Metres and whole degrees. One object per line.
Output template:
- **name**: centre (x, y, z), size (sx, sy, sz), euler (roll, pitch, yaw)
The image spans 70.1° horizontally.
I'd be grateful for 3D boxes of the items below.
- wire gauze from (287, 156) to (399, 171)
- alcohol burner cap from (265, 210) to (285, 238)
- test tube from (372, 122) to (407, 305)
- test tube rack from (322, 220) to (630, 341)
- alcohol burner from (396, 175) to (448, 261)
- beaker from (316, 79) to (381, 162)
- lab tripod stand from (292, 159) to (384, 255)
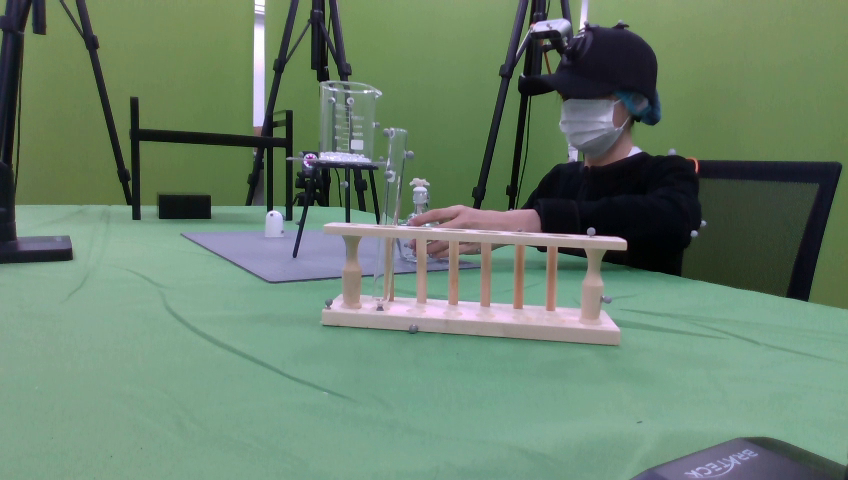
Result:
- **wire gauze**: centre (-0.101, -0.103, 0.788), size (0.121, 0.011, 0.125), euler (6, 4, 6)
- **alcohol burner cap**: centre (-0.253, -0.027, 1.027), size (0.034, 0.048, 0.034), euler (2, 9, 0)
- **test tube**: centre (-0.029, -0.020, 0.493), size (0.017, 0.150, 0.017), euler (6, 9, -1)
- **test tube rack**: centre (0.041, 0.029, 0.512), size (0.242, 0.085, 0.067), euler (3, 7, 5)
- **alcohol burner**: centre (-0.003, -0.031, 0.843), size (0.078, 0.119, 0.078), euler (0, 7, 0)
- **beaker**: centre (-0.098, -0.151, 0.778), size (0.084, 0.100, 0.074), euler (4, 7, 6)
- **lab tripod stand**: centre (-0.105, -0.039, 0.798), size (0.148, 0.131, 0.148), euler (2, 5, 0)
